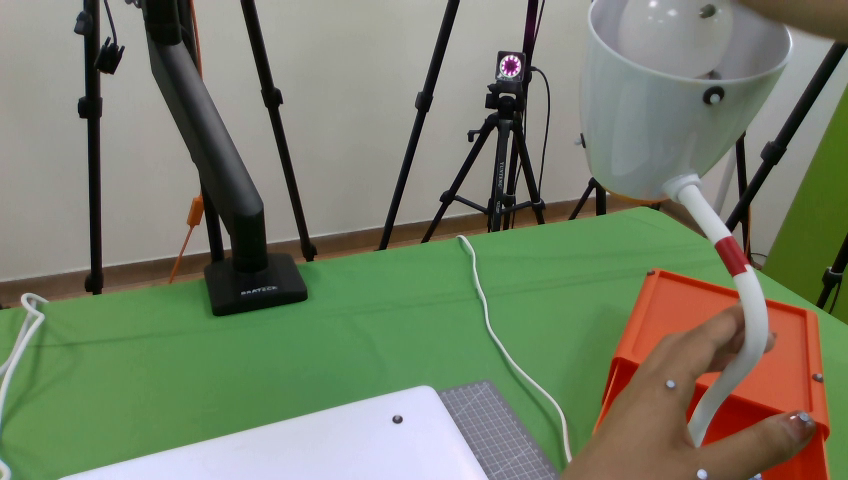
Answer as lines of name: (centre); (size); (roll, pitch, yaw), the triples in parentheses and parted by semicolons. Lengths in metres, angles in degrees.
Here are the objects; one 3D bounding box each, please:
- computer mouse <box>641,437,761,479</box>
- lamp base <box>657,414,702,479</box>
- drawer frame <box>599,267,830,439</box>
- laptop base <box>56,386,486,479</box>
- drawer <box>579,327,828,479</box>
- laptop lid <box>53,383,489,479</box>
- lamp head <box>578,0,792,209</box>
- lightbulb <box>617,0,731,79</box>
computer mouse: (0.252, 0.219, 0.548); (0.117, 0.041, 0.062); (15, 30, 14)
lamp base: (0.167, 0.219, 0.396); (0.161, 0.181, 0.177); (1, 26, -8)
drawer frame: (0.323, 0.132, 0.681); (0.200, 0.083, 0.213); (16, 30, 22)
laptop base: (-0.111, 0.241, 0.493); (0.355, 0.023, 0.233); (-9, 34, -22)
drawer: (0.274, 0.180, 0.593); (0.193, 0.074, 0.211); (14, 30, 21)
laptop lid: (-0.109, 0.232, 0.485); (0.358, 0.013, 0.239); (-8, 33, -21)
lamp head: (0.148, -0.080, 0.376); (0.112, 0.124, 0.111); (-1, 44, 1)
lightbulb: (0.142, -0.102, 0.358); (0.059, 0.109, 0.059); (-4, 50, 5)
